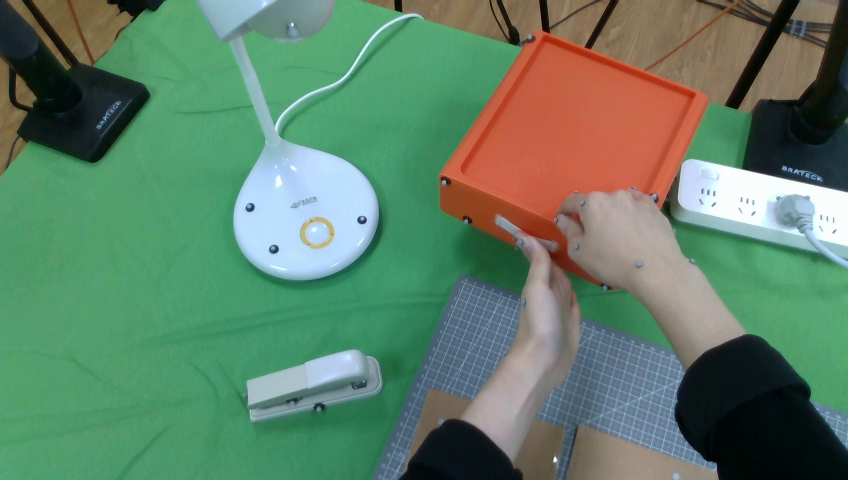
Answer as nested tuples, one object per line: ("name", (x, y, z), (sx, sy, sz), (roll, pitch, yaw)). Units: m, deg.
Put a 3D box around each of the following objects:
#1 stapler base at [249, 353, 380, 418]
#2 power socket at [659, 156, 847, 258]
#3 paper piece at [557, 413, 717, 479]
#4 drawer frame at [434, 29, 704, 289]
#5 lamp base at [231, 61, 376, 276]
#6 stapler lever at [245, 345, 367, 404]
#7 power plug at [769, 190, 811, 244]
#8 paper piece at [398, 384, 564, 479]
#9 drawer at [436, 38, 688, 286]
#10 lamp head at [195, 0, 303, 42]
("stapler base", (-0.109, 0.137, 0.589), (0.131, 0.024, 0.041), (-12, 59, -4))
("power socket", (0.378, -0.037, 0.670), (0.226, 0.033, 0.072), (14, 64, 7))
("paper piece", (0.182, 0.242, 0.539), (0.135, 0.004, 0.135), (21, 66, 11))
("drawer frame", (0.147, -0.090, 0.625), (0.201, 0.083, 0.213), (26, 67, 14))
("lamp base", (-0.142, -0.078, 0.611), (0.160, 0.182, 0.177), (-31, 63, -15))
("stapler lever", (-0.112, 0.125, 0.566), (0.118, 0.040, 0.026), (-12, 59, -3))
("power plug", (0.378, -0.021, 0.636), (0.035, 0.053, 0.072), (24, 66, 12))
("paper piece", (0.048, 0.214, 0.555), (0.135, 0.009, 0.137), (14, 65, 11))
("drawer", (0.146, -0.086, 0.620), (0.193, 0.074, 0.211), (26, 66, 14))
("lamp head", (-0.103, -0.191, 0.344), (0.112, 0.112, 0.123), (-38, 107, -17))
